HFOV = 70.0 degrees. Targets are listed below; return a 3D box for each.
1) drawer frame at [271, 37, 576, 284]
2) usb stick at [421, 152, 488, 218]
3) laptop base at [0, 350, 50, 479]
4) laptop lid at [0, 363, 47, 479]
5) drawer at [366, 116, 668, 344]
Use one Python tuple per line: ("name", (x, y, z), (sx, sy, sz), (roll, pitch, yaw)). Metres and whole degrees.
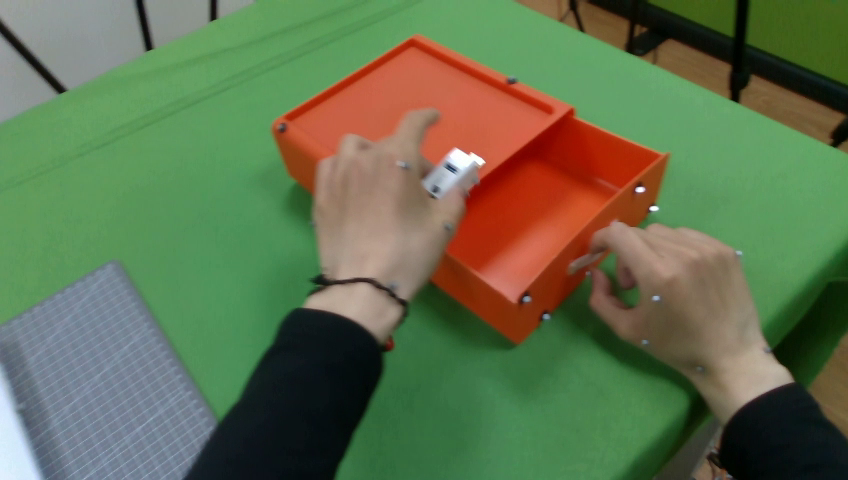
("drawer frame", (-0.001, -0.088, 0.586), (0.201, 0.083, 0.211), (-40, 55, -23))
("usb stick", (0.025, -0.046, 0.456), (0.021, 0.027, 0.059), (34, 64, 30))
("laptop base", (-0.441, 0.241, 0.412), (0.354, 0.023, 0.233), (-35, 57, -20))
("laptop lid", (-0.441, 0.234, 0.401), (0.357, 0.013, 0.239), (-34, 55, -19))
("drawer", (0.068, -0.041, 0.537), (0.209, 0.074, 0.194), (34, 63, 32))
